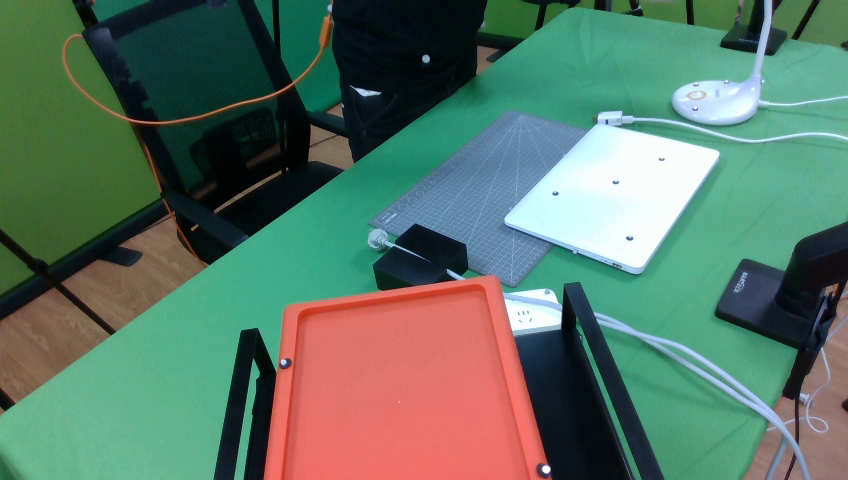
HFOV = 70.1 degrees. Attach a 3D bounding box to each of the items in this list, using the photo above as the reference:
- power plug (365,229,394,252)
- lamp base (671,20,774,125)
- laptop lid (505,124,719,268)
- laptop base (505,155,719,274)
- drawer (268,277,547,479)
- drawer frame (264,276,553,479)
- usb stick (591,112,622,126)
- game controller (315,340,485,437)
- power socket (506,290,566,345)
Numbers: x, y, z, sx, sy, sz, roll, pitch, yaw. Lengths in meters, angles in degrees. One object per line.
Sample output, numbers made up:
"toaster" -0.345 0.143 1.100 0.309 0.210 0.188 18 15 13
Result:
"power plug" -0.067 0.010 0.954 0.035 0.053 0.072 -39 52 2
"lamp base" 0.581 -0.332 1.154 0.179 0.181 0.160 2 41 7
"laptop lid" 0.323 -0.093 1.021 0.240 0.013 0.358 23 49 32
"laptop base" 0.326 -0.083 1.028 0.233 0.023 0.355 21 48 32
"drawer" -0.018 0.137 0.493 0.195 0.073 0.210 -7 41 -1
"drawer frame" -0.016 0.137 0.490 0.202 0.083 0.212 -8 41 -2
"usb stick" 0.360 -0.239 1.197 0.059 0.021 0.027 4 42 27
"game controller" -0.021 0.120 0.534 0.155 0.052 0.096 -3 38 1
"power socket" 0.081 0.112 0.822 0.227 0.033 0.072 -7 41 0
